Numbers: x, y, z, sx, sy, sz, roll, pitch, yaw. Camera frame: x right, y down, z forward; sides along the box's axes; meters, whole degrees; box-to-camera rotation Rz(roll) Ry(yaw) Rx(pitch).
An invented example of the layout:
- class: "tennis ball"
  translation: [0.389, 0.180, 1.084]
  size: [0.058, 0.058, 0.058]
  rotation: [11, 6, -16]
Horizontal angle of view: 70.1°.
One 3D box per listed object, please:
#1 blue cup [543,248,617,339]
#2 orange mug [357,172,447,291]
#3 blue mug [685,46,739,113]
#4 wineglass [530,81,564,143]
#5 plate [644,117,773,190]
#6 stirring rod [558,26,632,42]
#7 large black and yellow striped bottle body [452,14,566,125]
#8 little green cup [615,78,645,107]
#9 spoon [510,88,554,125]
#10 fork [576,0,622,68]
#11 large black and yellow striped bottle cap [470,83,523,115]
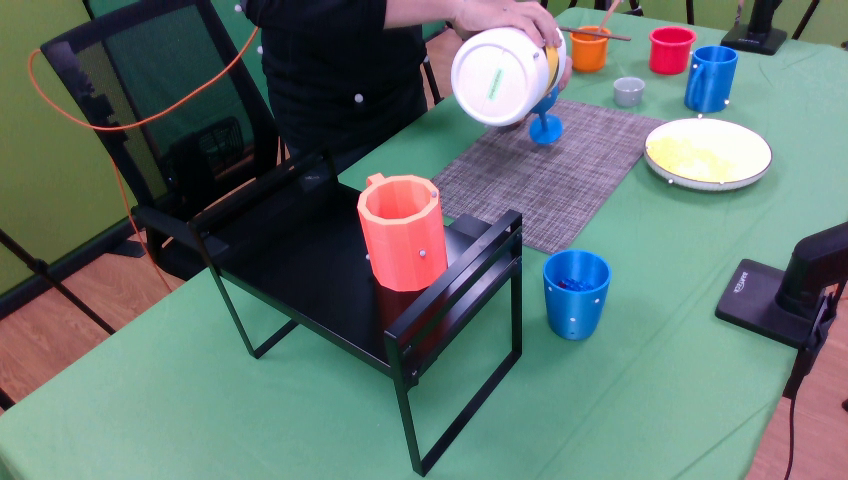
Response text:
- class: "blue cup"
  translation: [0.199, 0.076, 0.797]
  size: [0.092, 0.100, 0.092]
  rotation: [-4, 39, 4]
- class: "orange mug"
  translation: [-0.030, -0.018, 0.669]
  size: [0.084, 0.101, 0.125]
  rotation: [-23, 47, -16]
- class: "blue mug"
  translation: [0.556, -0.310, 1.190]
  size: [0.117, 0.106, 0.081]
  rotation: [-32, 46, -25]
- class: "wineglass"
  translation: [0.210, -0.246, 1.078]
  size: [0.073, 0.173, 0.073]
  rotation: [-6, 66, 15]
- class: "plate"
  translation: [0.495, -0.149, 1.063]
  size: [0.209, 0.038, 0.208]
  rotation: [-5, 40, 4]
- class: "stirring rod"
  translation: [0.381, -0.462, 1.356]
  size: [0.175, 0.006, 0.014]
  rotation: [22, 48, 30]
- class: "large black and yellow striped bottle body"
  translation: [0.136, -0.261, 0.907]
  size: [0.130, 0.131, 0.184]
  rotation: [14, 35, 24]
- class: "little green cup"
  translation: [0.426, -0.306, 1.257]
  size: [0.061, 0.039, 0.061]
  rotation: [-4, 40, 4]
- class: "spoon"
  translation: [0.227, -0.285, 1.269]
  size: [0.041, 0.022, 0.194]
  rotation: [4, 37, 44]
- class: "fork"
  translation: [0.409, -0.484, 1.381]
  size: [0.028, 0.019, 0.207]
  rotation: [37, 101, 45]
- class: "large black and yellow striped bottle cap"
  translation: [0.157, -0.308, 1.316]
  size: [0.115, 0.019, 0.114]
  rotation: [-7, 38, 6]
